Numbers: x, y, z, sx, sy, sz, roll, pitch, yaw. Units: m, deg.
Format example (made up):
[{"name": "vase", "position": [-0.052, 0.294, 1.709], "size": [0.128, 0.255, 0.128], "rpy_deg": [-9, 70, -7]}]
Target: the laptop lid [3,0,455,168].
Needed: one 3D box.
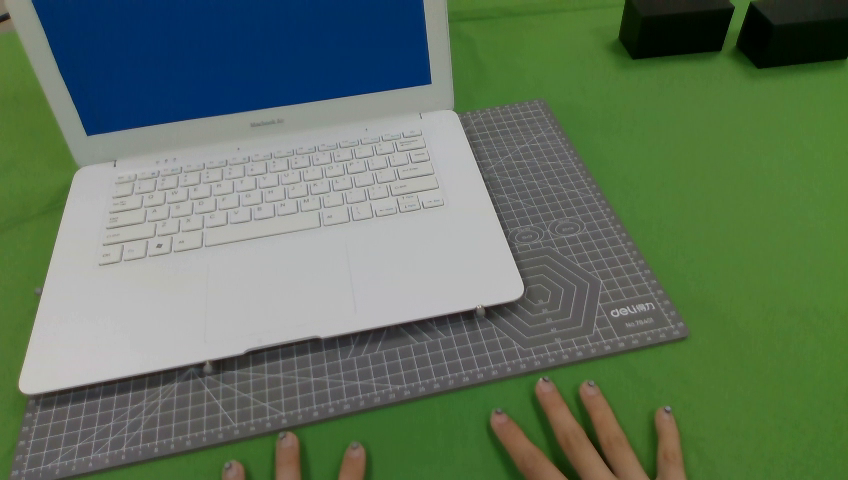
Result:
[{"name": "laptop lid", "position": [-0.153, -0.190, 0.511], "size": [0.357, 0.244, 0.013], "rpy_deg": [-12, 33, -5]}]

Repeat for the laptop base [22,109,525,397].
[{"name": "laptop base", "position": [-0.119, -0.007, 0.497], "size": [0.355, 0.023, 0.233], "rpy_deg": [-10, 51, -6]}]
